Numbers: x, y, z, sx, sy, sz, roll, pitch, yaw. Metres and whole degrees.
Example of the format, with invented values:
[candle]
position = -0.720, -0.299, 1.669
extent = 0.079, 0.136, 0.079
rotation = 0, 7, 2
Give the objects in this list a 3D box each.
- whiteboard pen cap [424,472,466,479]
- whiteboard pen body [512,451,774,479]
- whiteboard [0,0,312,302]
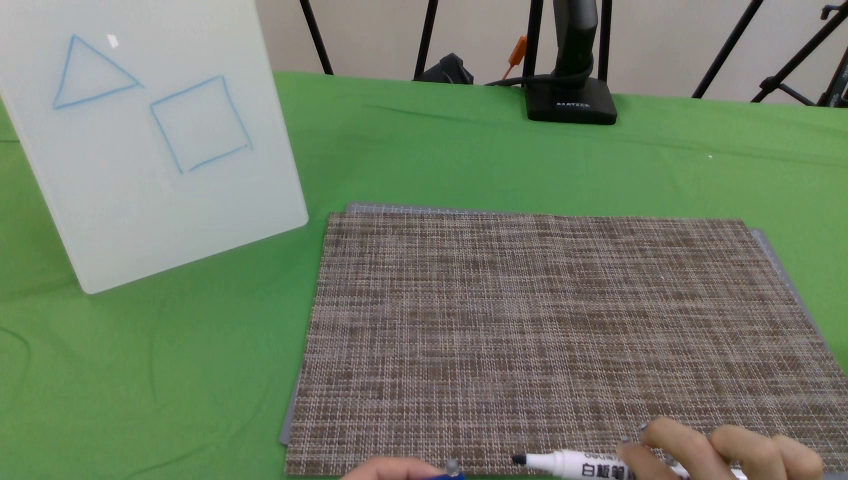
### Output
[whiteboard pen cap]
position = 0.008, 0.133, 0.320
extent = 0.033, 0.018, 0.018
rotation = -12, 40, -2
[whiteboard pen body]
position = 0.118, 0.127, 0.326
extent = 0.141, 0.017, 0.017
rotation = 6, 39, 3
[whiteboard]
position = -0.264, -0.135, 0.583
extent = 0.218, 0.307, 0.142
rotation = -20, 26, -24
